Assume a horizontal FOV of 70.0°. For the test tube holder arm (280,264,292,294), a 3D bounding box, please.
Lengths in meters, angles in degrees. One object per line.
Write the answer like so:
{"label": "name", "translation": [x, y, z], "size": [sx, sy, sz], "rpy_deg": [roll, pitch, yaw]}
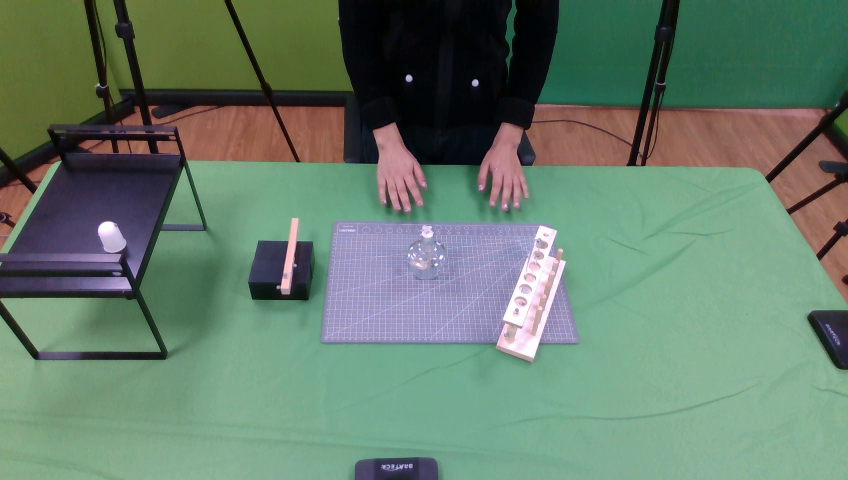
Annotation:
{"label": "test tube holder arm", "translation": [-0.241, 0.057, 1.062], "size": [0.015, 0.010, 0.087], "rpy_deg": [7, 49, -12]}

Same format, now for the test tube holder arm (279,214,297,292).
{"label": "test tube holder arm", "translation": [-0.242, 0.019, 1.087], "size": [0.015, 0.013, 0.177], "rpy_deg": [7, 49, -12]}

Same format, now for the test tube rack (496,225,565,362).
{"label": "test tube rack", "translation": [0.200, 0.089, 1.081], "size": [0.066, 0.085, 0.241], "rpy_deg": [19, 48, 13]}

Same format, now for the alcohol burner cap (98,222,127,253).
{"label": "alcohol burner cap", "translation": [-0.468, -0.007, 0.904], "size": [0.034, 0.048, 0.033], "rpy_deg": [3, 45, -3]}

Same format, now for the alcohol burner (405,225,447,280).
{"label": "alcohol burner", "translation": [0.004, 0.017, 1.115], "size": [0.078, 0.120, 0.077], "rpy_deg": [1, 47, -1]}

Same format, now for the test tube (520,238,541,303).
{"label": "test tube", "translation": [0.182, 0.056, 1.042], "size": [0.017, 0.151, 0.017], "rpy_deg": [1, 44, -1]}
